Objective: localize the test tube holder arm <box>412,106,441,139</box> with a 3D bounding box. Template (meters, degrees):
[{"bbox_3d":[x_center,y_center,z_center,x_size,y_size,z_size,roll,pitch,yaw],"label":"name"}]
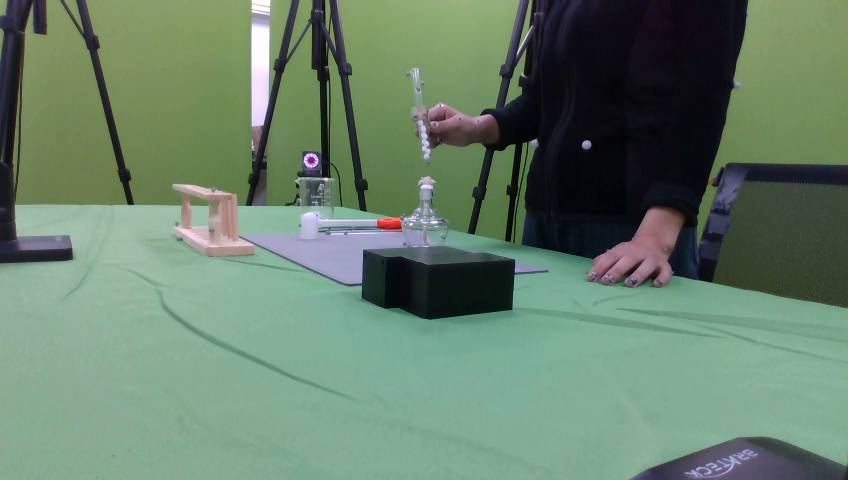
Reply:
[{"bbox_3d":[0.006,-0.195,1.016,0.013,0.015,0.179,-7,-5,12],"label":"test tube holder arm"}]

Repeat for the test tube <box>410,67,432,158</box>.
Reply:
[{"bbox_3d":[-0.004,-0.201,0.948,0.017,0.150,0.017,-8,-10,-1],"label":"test tube"}]

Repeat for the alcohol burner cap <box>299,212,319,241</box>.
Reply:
[{"bbox_3d":[-0.195,-0.024,1.025,0.034,0.048,0.034,3,7,0],"label":"alcohol burner cap"}]

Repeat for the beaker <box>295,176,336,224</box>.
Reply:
[{"bbox_3d":[-0.224,-0.080,1.247,0.084,0.100,0.073,-1,8,-18],"label":"beaker"}]

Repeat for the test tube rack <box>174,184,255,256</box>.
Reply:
[{"bbox_3d":[-0.327,-0.036,0.928,0.067,0.085,0.241,-2,9,-32],"label":"test tube rack"}]

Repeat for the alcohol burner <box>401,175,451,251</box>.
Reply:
[{"bbox_3d":[0.003,-0.042,0.947,0.078,0.119,0.078,1,9,0],"label":"alcohol burner"}]

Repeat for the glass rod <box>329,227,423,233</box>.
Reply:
[{"bbox_3d":[-0.087,-0.019,1.148,0.201,0.008,0.008,-3,8,-32],"label":"glass rod"}]

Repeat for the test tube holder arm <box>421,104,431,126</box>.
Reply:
[{"bbox_3d":[0.004,-0.199,0.971,0.010,0.015,0.088,-7,-5,4],"label":"test tube holder arm"}]

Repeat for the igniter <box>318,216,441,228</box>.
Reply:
[{"bbox_3d":[-0.090,-0.036,1.222,0.278,0.025,0.057,-2,-2,-32],"label":"igniter"}]
